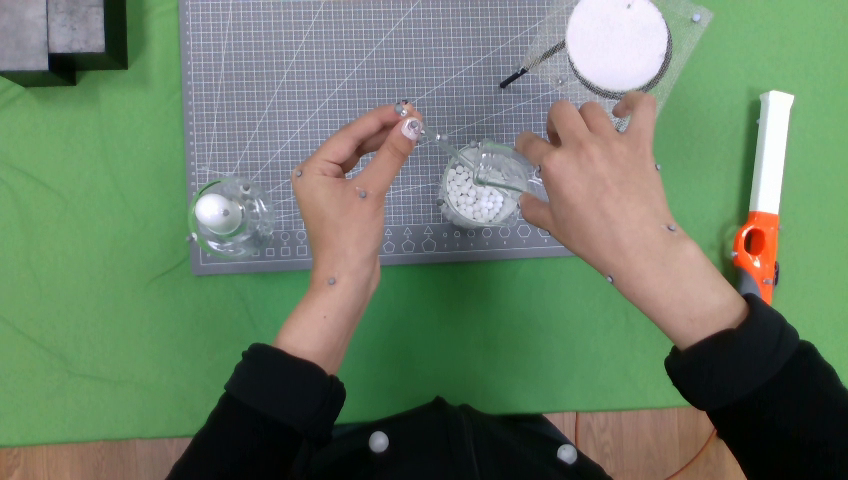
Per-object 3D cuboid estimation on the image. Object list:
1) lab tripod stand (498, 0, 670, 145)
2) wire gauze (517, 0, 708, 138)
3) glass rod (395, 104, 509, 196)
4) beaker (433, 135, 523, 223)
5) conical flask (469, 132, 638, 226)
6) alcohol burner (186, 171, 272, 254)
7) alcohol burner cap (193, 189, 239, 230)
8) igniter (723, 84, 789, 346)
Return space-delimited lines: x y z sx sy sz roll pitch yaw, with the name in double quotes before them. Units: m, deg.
"lab tripod stand" 0.153 -0.164 0.566 0.148 0.131 0.148 0 90 -3
"wire gauze" 0.155 -0.167 0.500 0.125 0.011 0.121 30 89 -3
"glass rod" 0.031 -0.066 0.490 0.008 0.201 0.008 -8 73 28
"beaker" 0.048 -0.051 0.574 0.074 0.100 0.084 -39 92 -3
"conical flask" 0.099 -0.056 0.480 0.122 0.075 0.075 10 88 -6
"alcohol burner" -0.180 -0.026 0.549 0.078 0.119 0.078 0 90 -3
"alcohol burner cap" -0.178 -0.028 0.513 0.034 0.048 0.034 1 82 -6
"igniter" 0.350 -0.025 0.637 0.057 0.025 0.276 8 89 -15
